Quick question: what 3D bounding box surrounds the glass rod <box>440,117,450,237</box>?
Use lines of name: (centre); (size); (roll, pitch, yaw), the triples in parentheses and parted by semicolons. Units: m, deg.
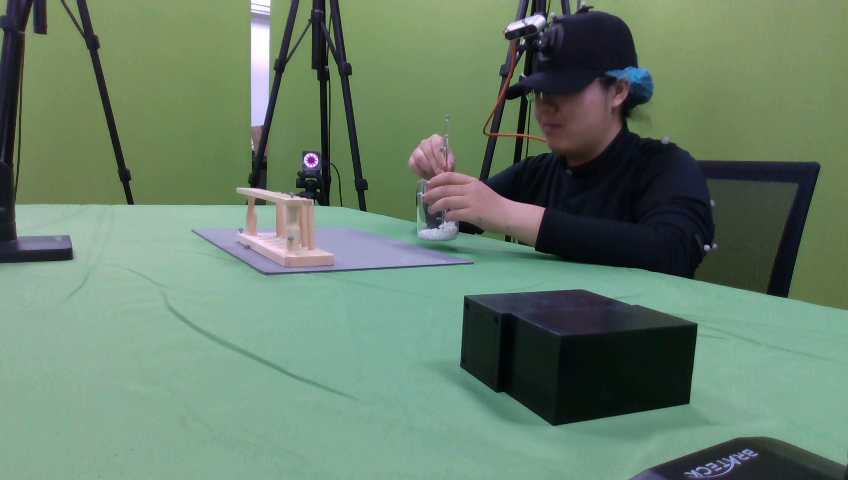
glass rod: (0.035, -0.104, 1.014); (0.008, 0.199, 0.008); (3, 9, 0)

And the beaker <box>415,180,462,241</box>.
beaker: (0.026, -0.049, 1.001); (0.083, 0.100, 0.074); (4, 7, 37)

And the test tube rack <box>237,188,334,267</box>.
test tube rack: (-0.202, -0.024, 0.855); (0.067, 0.085, 0.241); (-2, 8, -30)
